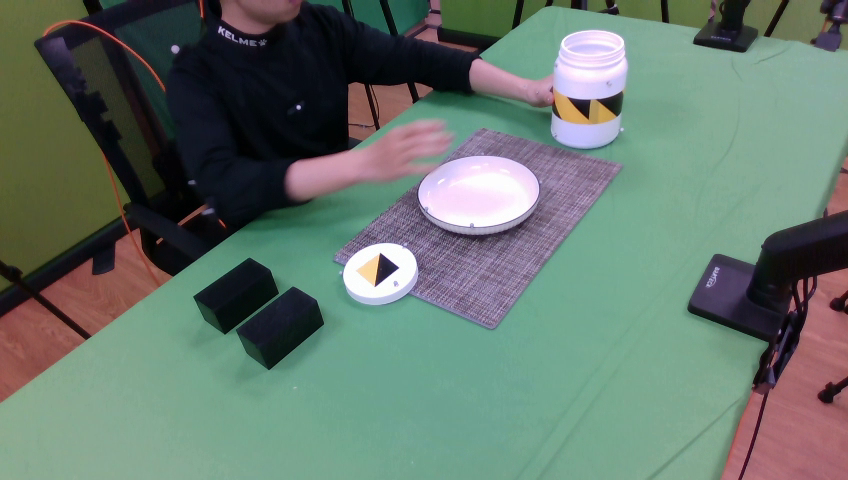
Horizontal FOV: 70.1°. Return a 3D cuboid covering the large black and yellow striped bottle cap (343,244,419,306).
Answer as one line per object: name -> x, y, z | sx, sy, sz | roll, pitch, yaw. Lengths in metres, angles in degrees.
large black and yellow striped bottle cap -> -0.066, 0.051, 0.918 | 0.115, 0.019, 0.114 | -6, 43, 6

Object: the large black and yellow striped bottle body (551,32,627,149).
large black and yellow striped bottle body -> 0.305, -0.278, 1.125 | 0.131, 0.185, 0.130 | -4, 41, 4

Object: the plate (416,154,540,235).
plate -> 0.090, -0.074, 1.025 | 0.207, 0.039, 0.206 | -4, 41, 4
